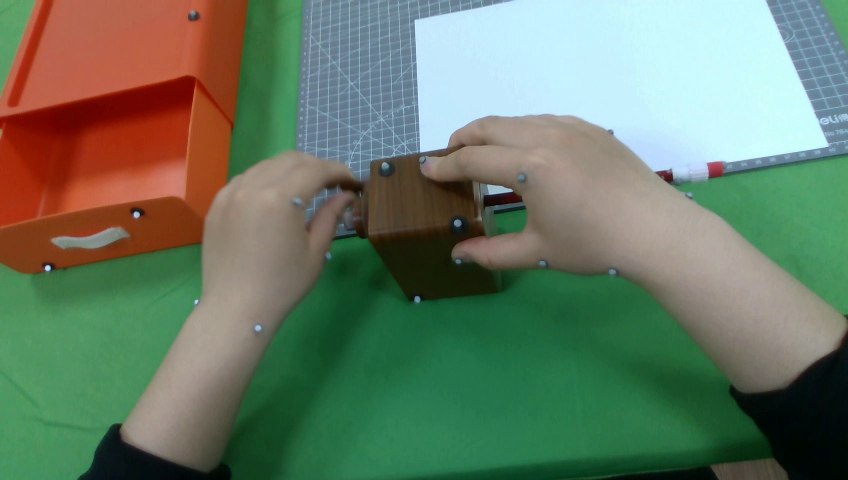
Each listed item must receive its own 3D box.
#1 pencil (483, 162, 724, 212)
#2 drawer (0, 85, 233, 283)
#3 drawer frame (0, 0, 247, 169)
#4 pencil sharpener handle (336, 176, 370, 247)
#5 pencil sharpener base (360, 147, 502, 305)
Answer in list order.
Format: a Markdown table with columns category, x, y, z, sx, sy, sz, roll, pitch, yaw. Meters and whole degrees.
| category | x | y | z | sx | sy | sz | roll | pitch | yaw |
| --- | --- | --- | --- | --- | --- | --- | --- | --- | --- |
| pencil | 0.081 | -0.028 | 0.373 | 0.194 | 0.012 | 0.012 | -8 | 61 | 10 |
| drawer | -0.275 | -0.080 | 0.541 | 0.194 | 0.074 | 0.209 | -11 | 60 | 9 |
| drawer frame | -0.285 | -0.184 | 0.595 | 0.201 | 0.083 | 0.211 | -11 | 60 | 9 |
| pencil sharpener handle | -0.048 | -0.020 | 0.408 | 0.030 | 0.036 | 0.067 | -8 | 40 | 11 |
| pencil sharpener base | 0.008 | -0.004 | 0.411 | 0.076 | 0.108 | 0.061 | -8 | 61 | 11 |
